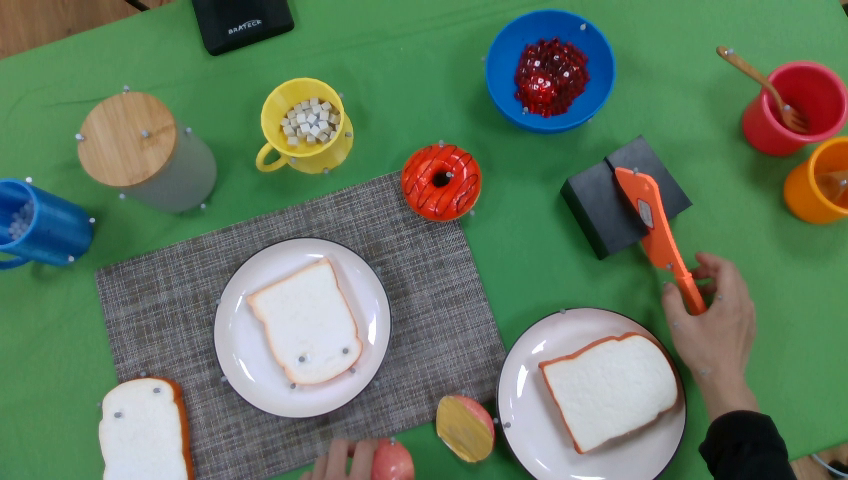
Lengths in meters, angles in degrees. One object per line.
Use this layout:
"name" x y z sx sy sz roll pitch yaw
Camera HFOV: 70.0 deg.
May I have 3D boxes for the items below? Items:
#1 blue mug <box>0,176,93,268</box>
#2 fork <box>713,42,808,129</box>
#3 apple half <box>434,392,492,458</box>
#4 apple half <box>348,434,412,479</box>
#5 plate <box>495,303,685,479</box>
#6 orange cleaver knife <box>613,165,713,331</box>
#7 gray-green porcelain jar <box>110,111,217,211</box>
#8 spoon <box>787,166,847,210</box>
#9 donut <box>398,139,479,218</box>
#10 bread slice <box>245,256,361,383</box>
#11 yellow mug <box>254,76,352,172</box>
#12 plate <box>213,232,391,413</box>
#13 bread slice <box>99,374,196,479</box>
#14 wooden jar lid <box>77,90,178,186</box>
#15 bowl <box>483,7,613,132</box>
"blue mug" -0.474 -0.010 0.716 0.116 0.106 0.082 -44 80 -5
"fork" 0.385 -0.172 0.684 0.209 0.018 0.028 21 76 -36
"apple half" 0.048 0.204 0.682 0.033 0.081 0.081 -28 75 -43
"apple half" -0.053 0.255 0.653 0.053 0.074 0.081 -10 114 -35
"plate" 0.183 0.176 0.683 0.209 0.038 0.208 -1 79 4
"orange cleaver knife" 0.270 0.008 0.689 0.012 0.077 0.212 -30 101 -10
"gray-green porcelain jar" -0.313 -0.095 0.714 0.106 0.127 0.105 -1 79 3
"spoon" 0.498 -0.091 0.662 0.022 0.194 0.041 -12 72 -46
"donut" 0.018 -0.074 0.732 0.099 0.048 0.098 0 80 3
"bread slice" -0.133 0.098 0.711 0.107 0.018 0.133 -29 78 -2
"yellow mug" -0.156 -0.131 0.744 0.131 0.064 0.099 -42 80 -5
"plate" -0.140 0.095 0.711 0.207 0.039 0.206 0 79 3
"bread slice" -0.327 0.224 0.706 0.105 0.019 0.131 -11 80 0
"wooden jar lid" -0.317 -0.108 0.653 0.108 0.021 0.108 -1 78 4
"bowl" 0.145 -0.193 0.735 0.151 0.077 0.151 0 80 3
